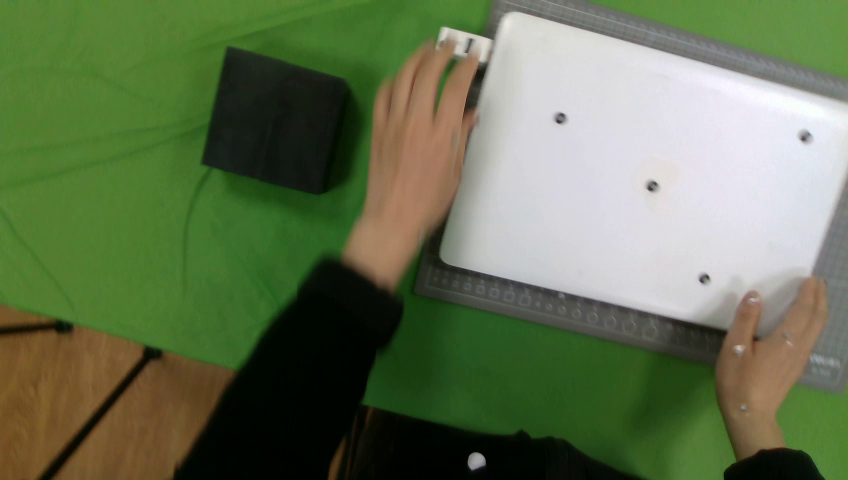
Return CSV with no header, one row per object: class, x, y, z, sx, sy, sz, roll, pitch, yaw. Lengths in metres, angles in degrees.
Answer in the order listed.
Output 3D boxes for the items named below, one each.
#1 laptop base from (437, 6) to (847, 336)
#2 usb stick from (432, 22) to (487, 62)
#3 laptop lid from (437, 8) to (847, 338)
laptop base,0.207,-0.057,0.571,0.355,0.023,0.236,13,101,-5
usb stick,0.037,-0.173,0.536,0.059,0.027,0.021,15,97,-2
laptop lid,0.207,-0.053,0.561,0.357,0.013,0.242,15,99,-5
